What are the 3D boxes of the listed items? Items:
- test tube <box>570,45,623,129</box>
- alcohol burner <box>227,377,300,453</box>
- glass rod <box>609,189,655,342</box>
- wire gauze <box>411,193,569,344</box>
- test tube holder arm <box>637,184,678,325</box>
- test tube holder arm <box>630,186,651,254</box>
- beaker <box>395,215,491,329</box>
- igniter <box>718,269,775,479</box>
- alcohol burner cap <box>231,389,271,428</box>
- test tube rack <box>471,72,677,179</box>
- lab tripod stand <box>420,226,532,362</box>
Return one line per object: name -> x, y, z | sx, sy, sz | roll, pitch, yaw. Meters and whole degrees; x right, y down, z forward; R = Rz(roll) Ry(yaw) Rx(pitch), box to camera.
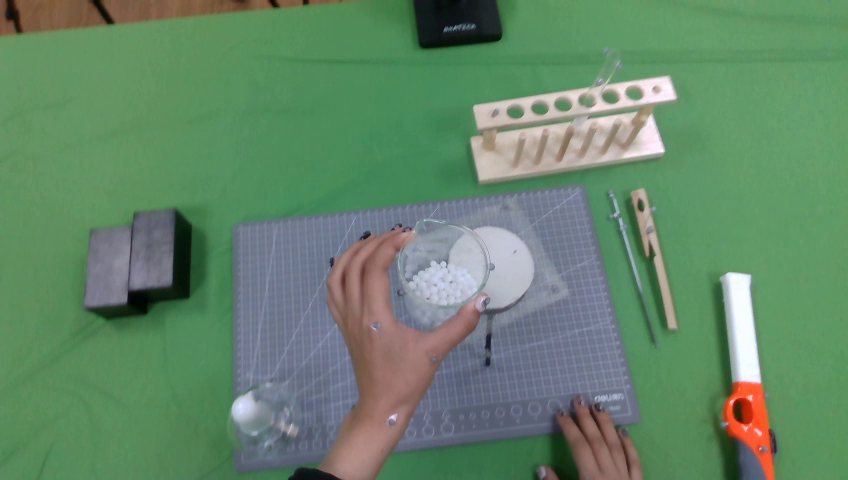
test tube -> 0.201, -0.176, 0.720 | 0.017, 0.151, 0.017 | 2, 68, -4
alcohol burner -> -0.170, 0.178, 0.626 | 0.078, 0.120, 0.077 | -1, 67, 2
glass rod -> 0.251, 0.027, 0.736 | 0.008, 0.008, 0.198 | -7, 69, -2
wire gauze -> 0.063, 0.024, 0.599 | 0.121, 0.011, 0.124 | -22, 70, -6
test tube holder arm -> 0.282, 0.015, 0.733 | 0.013, 0.015, 0.177 | -20, 66, 30
test tube holder arm -> 0.272, -0.025, 0.751 | 0.010, 0.015, 0.087 | -19, 67, 30
beaker -> 0.013, 0.032, 0.523 | 0.074, 0.101, 0.083 | -23, 71, -9
igniter -> 0.355, 0.165, 0.673 | 0.057, 0.025, 0.274 | 8, 69, -6
alcohol burner cap -> -0.172, 0.163, 0.594 | 0.034, 0.048, 0.033 | 0, 59, 1
test tube rack -> 0.185, -0.141, 0.760 | 0.242, 0.086, 0.066 | -9, 69, -2
lab tripod stand -> 0.060, 0.050, 0.661 | 0.148, 0.132, 0.147 | -1, 70, 3
